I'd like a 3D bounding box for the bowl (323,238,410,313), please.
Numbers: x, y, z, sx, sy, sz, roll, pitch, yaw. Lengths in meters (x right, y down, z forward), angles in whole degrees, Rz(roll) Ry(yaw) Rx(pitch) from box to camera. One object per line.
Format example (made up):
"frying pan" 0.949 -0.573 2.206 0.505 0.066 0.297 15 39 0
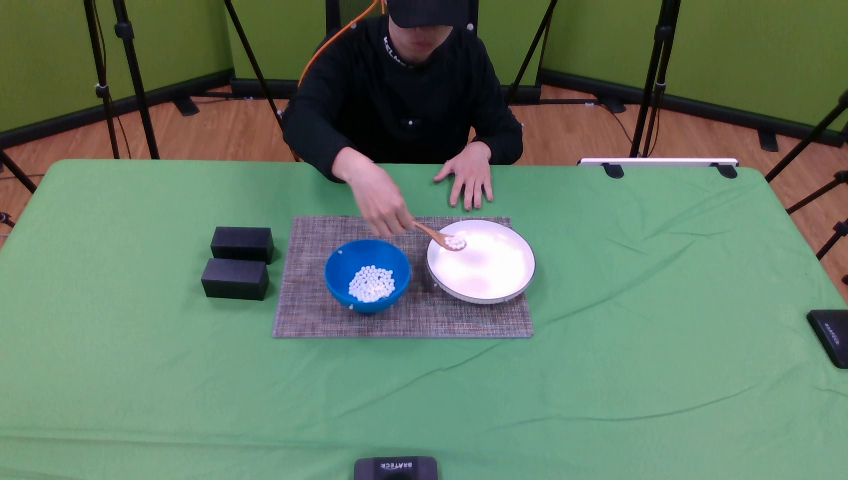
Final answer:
"bowl" -0.101 0.077 1.073 0.151 0.077 0.150 2 46 -2

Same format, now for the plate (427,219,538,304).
"plate" 0.109 0.044 1.149 0.208 0.039 0.206 2 46 -2

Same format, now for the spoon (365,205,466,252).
"spoon" -0.014 -0.025 1.080 0.194 0.022 0.041 26 43 -12
